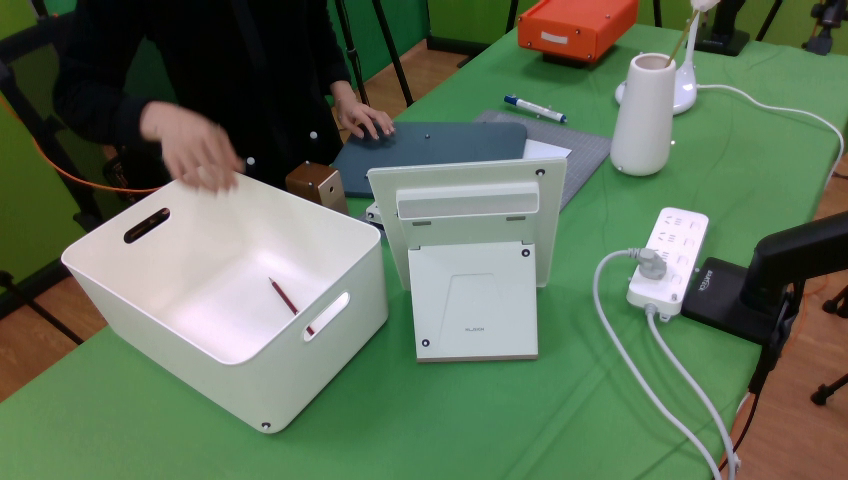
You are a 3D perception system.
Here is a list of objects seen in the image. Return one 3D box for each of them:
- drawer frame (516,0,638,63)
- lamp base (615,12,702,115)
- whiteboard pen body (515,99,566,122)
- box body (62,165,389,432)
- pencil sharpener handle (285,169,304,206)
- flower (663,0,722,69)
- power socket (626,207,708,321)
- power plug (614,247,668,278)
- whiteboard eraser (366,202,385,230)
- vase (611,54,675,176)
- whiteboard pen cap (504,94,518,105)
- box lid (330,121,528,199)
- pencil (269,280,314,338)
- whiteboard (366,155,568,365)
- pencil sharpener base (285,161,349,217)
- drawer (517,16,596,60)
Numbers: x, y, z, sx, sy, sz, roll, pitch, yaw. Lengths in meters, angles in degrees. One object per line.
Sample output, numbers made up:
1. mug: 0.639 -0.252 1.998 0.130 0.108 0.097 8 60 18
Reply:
1. drawer frame: 0.355 -0.508 1.411 0.200 0.083 0.214 23 51 32
2. lamp base: 0.484 -0.364 1.211 0.180 0.181 0.159 -15 41 -14
3. whiteboard pen body: 0.233 -0.274 1.262 0.139 0.017 0.017 28 51 29
4. box body: -0.255 0.065 0.827 0.361 0.161 0.255 21 48 29
5. pencil sharpener handle: -0.227 -0.091 1.031 0.030 0.068 0.036 16 35 26
6. flower: 0.379 -0.261 0.965 0.044 0.362 0.038 20 53 5
7. power socket: 0.359 0.025 0.886 0.072 0.033 0.227 16 46 26
8. power plug: 0.306 0.031 0.851 0.072 0.053 0.035 24 49 33
9. whiteboard eraser: -0.037 -0.038 1.006 0.112 0.042 0.055 16 48 25
10. vase: 0.377 -0.209 1.031 0.098 0.201 0.097 -3 40 3
11. whiteboard pen cap: 0.190 -0.299 1.292 0.033 0.018 0.018 30 52 28
12. box lid: 0.009 -0.158 1.167 0.370 0.015 0.262 3 41 13
13. pencil: -0.188 0.106 0.880 0.012 0.012 0.192 -28 42 -23
14. whiteboard: 0.059 0.050 0.738 0.217 0.307 0.143 -2 60 6
15. pencil sharpener base: -0.180 -0.071 1.019 0.076 0.107 0.061 16 46 26
16. drawer: 0.352 -0.506 1.405 0.193 0.073 0.212 23 49 32
